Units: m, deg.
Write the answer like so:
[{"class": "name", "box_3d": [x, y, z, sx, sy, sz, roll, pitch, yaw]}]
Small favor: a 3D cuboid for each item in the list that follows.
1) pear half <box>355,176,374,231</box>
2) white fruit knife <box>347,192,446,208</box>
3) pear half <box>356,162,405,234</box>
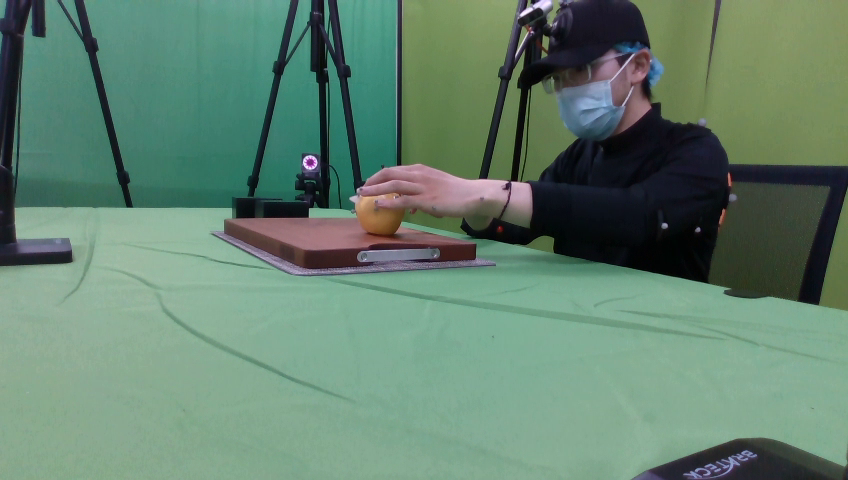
[{"class": "pear half", "box_3d": [-0.085, -0.058, 0.960, 0.031, 0.088, 0.071, 4, 13, 43]}, {"class": "white fruit knife", "box_3d": [-0.039, -0.066, 0.983, 0.208, 0.027, 0.016, -3, 15, -43]}, {"class": "pear half", "box_3d": [-0.059, -0.064, 0.930, 0.055, 0.110, 0.077, 16, 16, 42]}]
